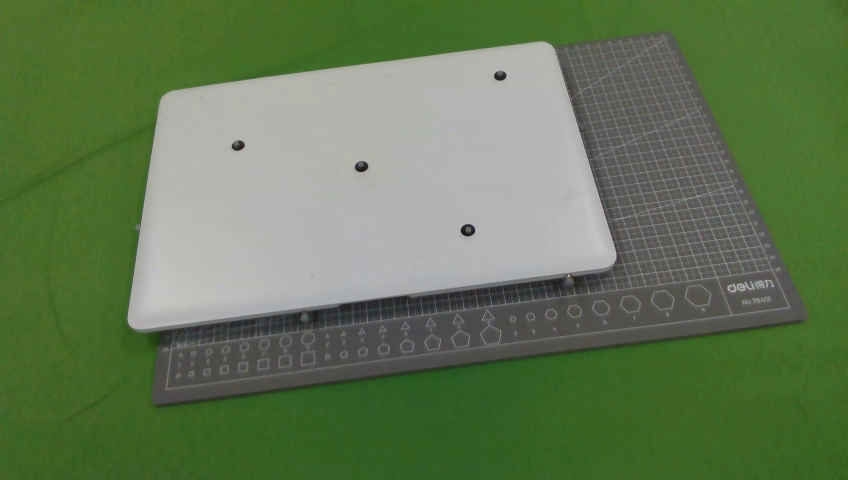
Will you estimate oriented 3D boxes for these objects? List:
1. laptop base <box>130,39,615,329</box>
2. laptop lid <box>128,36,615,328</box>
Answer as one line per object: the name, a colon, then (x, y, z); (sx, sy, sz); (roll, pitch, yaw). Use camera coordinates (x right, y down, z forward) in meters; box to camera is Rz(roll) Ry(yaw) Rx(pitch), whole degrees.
laptop base: (-0.048, -0.055, 0.493); (0.354, 0.023, 0.233); (-8, 62, 0)
laptop lid: (-0.049, -0.059, 0.481); (0.357, 0.013, 0.239); (-6, 61, 1)
